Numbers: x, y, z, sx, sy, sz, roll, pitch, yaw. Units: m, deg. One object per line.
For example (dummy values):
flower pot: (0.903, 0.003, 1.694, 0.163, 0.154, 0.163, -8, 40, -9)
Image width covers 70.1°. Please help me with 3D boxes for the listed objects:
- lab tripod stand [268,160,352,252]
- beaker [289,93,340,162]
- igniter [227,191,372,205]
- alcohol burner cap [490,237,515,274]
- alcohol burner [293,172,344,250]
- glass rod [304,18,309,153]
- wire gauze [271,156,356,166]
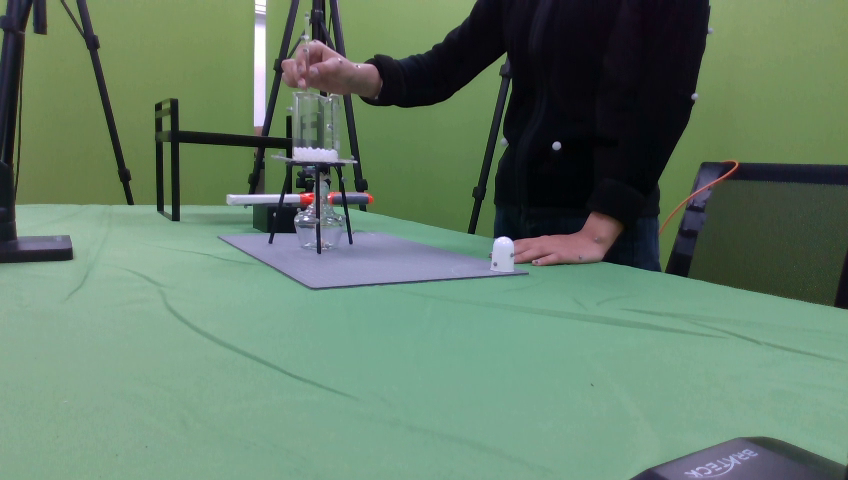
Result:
lab tripod stand: (-0.171, -0.055, 0.921, 0.148, 0.131, 0.148, 1, 8, 0)
beaker: (-0.162, -0.167, 0.908, 0.074, 0.100, 0.083, -4, 10, -31)
igniter: (-0.232, -0.079, 1.161, 0.278, 0.025, 0.057, -3, 12, -28)
alcohol burner cap: (0.104, 0.020, 0.793, 0.034, 0.048, 0.034, 3, 7, 0)
alcohol burner: (-0.159, -0.044, 0.921, 0.078, 0.119, 0.078, 5, 7, 0)
glass rod: (-0.178, -0.232, 0.912, 0.008, 0.199, 0.008, 2, 7, 0)
wire gauze: (-0.166, -0.120, 0.916, 0.125, 0.011, 0.121, -2, 6, -9)
